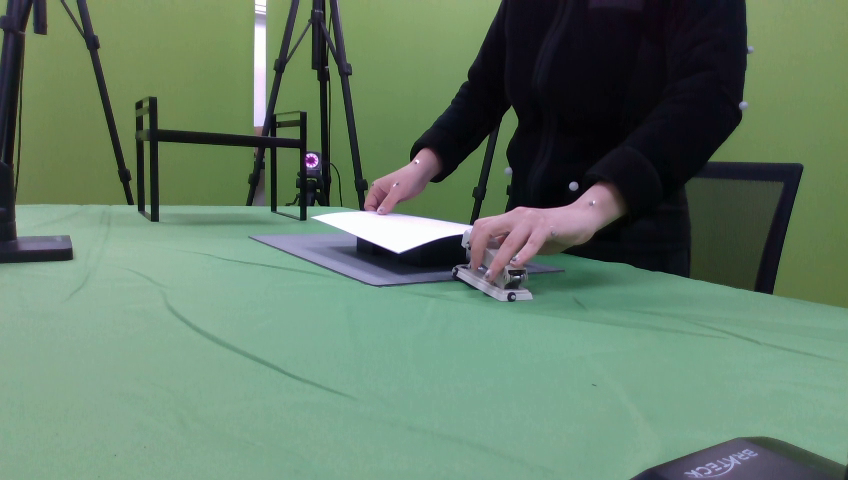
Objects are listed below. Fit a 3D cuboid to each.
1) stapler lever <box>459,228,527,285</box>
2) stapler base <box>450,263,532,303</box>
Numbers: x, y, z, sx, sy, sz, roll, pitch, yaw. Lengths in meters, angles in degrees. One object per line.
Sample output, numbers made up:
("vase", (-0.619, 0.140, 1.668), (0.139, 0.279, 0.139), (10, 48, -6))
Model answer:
("stapler lever", (0.075, 0.016, 0.677), (0.027, 0.040, 0.117), (-5, 15, -23))
("stapler base", (0.072, 0.040, 0.684), (0.041, 0.024, 0.130), (-4, 15, -23))
